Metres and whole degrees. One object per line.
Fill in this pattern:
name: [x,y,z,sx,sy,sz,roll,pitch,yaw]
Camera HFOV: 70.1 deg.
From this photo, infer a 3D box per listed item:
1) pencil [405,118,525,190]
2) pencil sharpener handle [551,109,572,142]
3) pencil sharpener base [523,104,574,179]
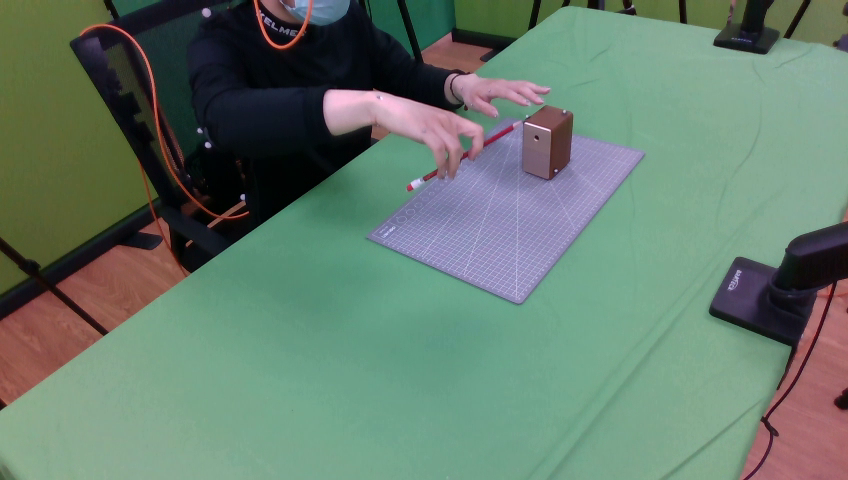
pencil: [0.057,-0.122,0.856,0.194,0.012,0.012,-30,40,8]
pencil sharpener handle: [0.253,-0.211,1.090,0.035,0.068,0.031,22,48,36]
pencil sharpener base: [0.220,-0.175,1.071,0.061,0.107,0.077,25,50,33]
